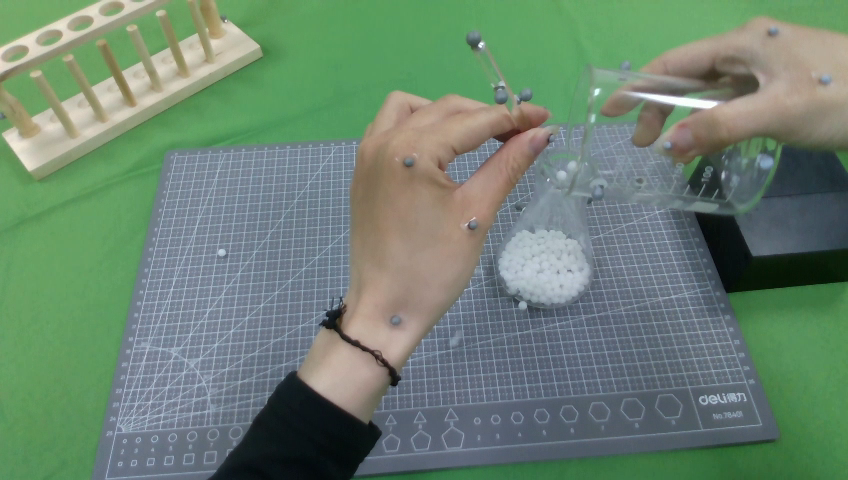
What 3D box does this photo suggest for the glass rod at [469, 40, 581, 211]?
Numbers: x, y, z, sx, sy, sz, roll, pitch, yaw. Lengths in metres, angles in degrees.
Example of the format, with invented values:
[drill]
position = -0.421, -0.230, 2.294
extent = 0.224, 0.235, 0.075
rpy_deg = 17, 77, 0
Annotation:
[glass rod]
position = 0.064, -0.051, 0.335
extent = 0.008, 0.201, 0.008
rpy_deg = -9, 69, 24

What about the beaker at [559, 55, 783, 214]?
[beaker]
position = 0.132, -0.054, 0.337
extent = 0.100, 0.084, 0.073
rpy_deg = 9, 68, 4

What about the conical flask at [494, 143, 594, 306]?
[conical flask]
position = 0.089, -0.012, 0.422
extent = 0.075, 0.123, 0.074
rpy_deg = -1, 56, 2

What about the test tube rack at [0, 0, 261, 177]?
[test tube rack]
position = -0.281, -0.167, 0.562
extent = 0.242, 0.086, 0.066
rpy_deg = -38, 62, -21
